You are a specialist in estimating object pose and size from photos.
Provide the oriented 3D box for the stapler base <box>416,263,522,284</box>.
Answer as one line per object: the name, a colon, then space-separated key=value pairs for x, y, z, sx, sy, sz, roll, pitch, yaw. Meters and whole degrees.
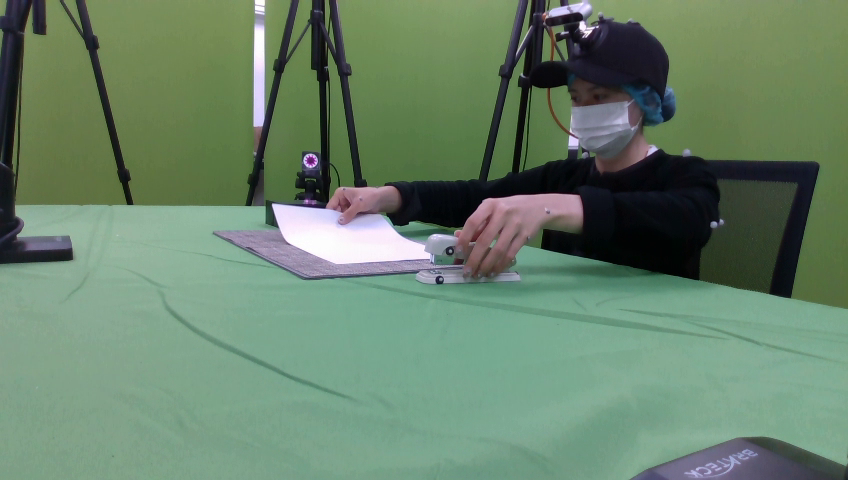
stapler base: x=0.055 y=0.038 z=0.733 sx=0.131 sy=0.024 sz=0.041 roll=1 pitch=8 yaw=-23

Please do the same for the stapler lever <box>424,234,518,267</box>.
stapler lever: x=0.057 y=0.014 z=0.731 sx=0.118 sy=0.040 sz=0.026 roll=0 pitch=8 yaw=-23
